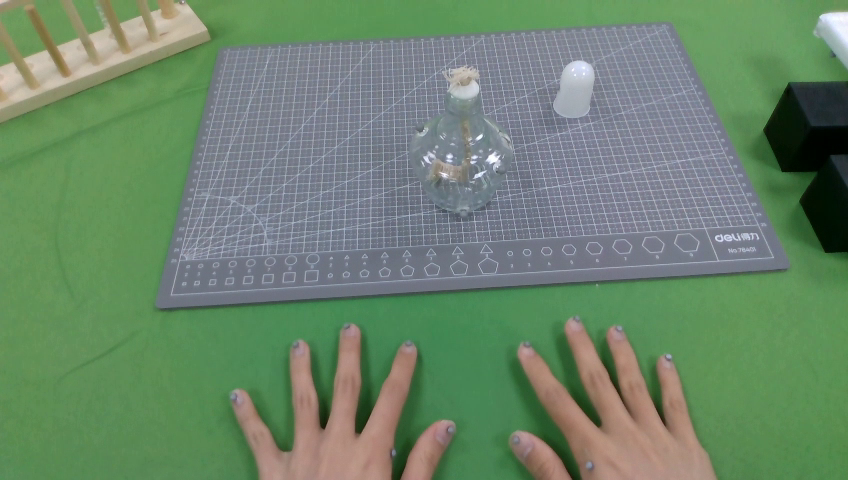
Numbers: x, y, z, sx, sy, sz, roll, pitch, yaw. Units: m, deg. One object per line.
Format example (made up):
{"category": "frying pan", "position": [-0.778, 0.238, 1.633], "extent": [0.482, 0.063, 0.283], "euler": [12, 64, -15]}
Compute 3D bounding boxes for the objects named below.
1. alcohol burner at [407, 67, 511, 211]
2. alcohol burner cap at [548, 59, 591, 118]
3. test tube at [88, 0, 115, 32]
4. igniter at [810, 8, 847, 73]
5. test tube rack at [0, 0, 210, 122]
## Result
{"category": "alcohol burner", "position": [0.026, -0.076, 0.438], "extent": [0.078, 0.120, 0.077], "euler": [0, 54, 0]}
{"category": "alcohol burner cap", "position": [0.127, -0.133, 0.520], "extent": [0.034, 0.048, 0.033], "euler": [0, 53, 0]}
{"category": "test tube", "position": [-0.313, -0.258, 0.539], "extent": [0.017, 0.152, 0.017], "euler": [-4, 45, 4]}
{"category": "igniter", "position": [0.349, -0.082, 0.429], "extent": [0.057, 0.025, 0.273], "euler": [-4, 52, 2]}
{"category": "test tube rack", "position": [-0.336, -0.191, 0.557], "extent": [0.242, 0.086, 0.066], "euler": [-30, 58, -18]}
